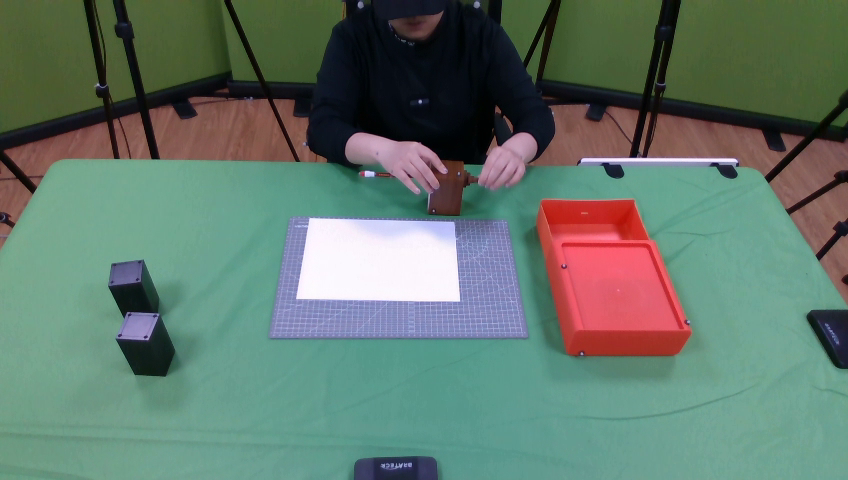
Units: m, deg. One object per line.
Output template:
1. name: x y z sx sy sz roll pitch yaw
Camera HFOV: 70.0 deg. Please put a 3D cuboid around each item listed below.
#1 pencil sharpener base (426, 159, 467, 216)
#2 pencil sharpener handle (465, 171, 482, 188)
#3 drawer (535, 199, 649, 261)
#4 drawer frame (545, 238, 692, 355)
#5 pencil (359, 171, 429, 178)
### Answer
1. pencil sharpener base: 0.045 -0.105 1.245 0.077 0.107 0.061 3 46 -2
2. pencil sharpener handle: 0.098 -0.119 1.212 0.030 0.036 0.067 3 12 -2
3. drawer: 0.332 0.015 1.170 0.195 0.073 0.210 0 47 -5
4. drawer frame: 0.338 0.097 1.085 0.202 0.083 0.212 0 46 -4
5. pencil: -0.035 -0.129 1.222 0.194 0.012 0.012 2 45 -2
